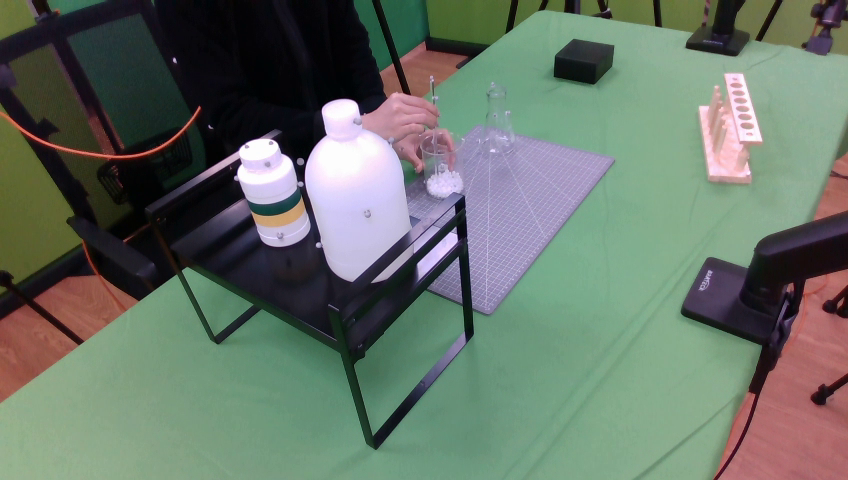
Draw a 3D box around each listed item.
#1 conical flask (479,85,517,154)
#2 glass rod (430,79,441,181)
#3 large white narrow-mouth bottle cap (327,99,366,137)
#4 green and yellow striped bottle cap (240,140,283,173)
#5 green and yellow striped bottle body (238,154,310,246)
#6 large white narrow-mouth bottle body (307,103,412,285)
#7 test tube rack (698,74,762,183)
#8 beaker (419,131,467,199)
[{"bbox_3d":[0.139,-0.231,1.145,0.075,0.122,0.075,-4,41,4],"label":"conical flask"},{"bbox_3d":[0.021,-0.179,1.014,0.008,0.200,0.008,-3,43,3],"label":"glass rod"},{"bbox_3d":[-0.075,-0.117,0.582,0.038,0.024,0.037,-3,40,3],"label":"large white narrow-mouth bottle cap"},{"bbox_3d":[-0.183,-0.094,0.679,0.045,0.020,0.045,-5,38,4],"label":"green and yellow striped bottle cap"},{"bbox_3d":[-0.178,-0.056,0.714,0.063,0.120,0.063,-4,40,4],"label":"green and yellow striped bottle body"},{"bbox_3d":[-0.070,-0.051,0.638,0.102,0.195,0.101,-3,40,3],"label":"large white narrow-mouth bottle body"},{"bbox_3d":[0.547,-0.208,1.094,0.066,0.085,0.242,5,42,15],"label":"test tube rack"},{"bbox_3d":[0.037,-0.130,1.060,0.084,0.100,0.073,-14,41,-9],"label":"beaker"}]
